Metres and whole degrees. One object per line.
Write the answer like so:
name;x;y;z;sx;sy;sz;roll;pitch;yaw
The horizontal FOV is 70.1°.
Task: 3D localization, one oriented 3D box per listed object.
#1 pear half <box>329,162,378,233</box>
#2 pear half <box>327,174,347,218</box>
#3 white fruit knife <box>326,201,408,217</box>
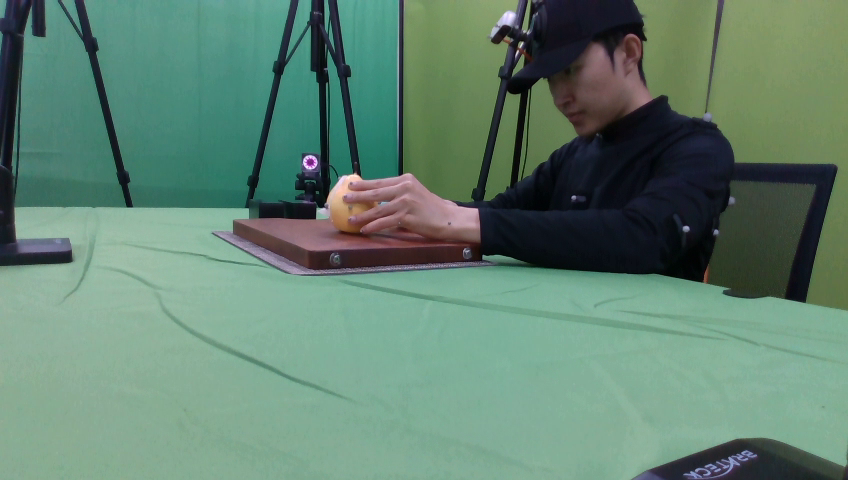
pear half;-0.101;-0.064;0.927;0.055;0.110;0.077;9;12;38
pear half;-0.129;-0.059;0.954;0.031;0.088;0.071;-1;8;39
white fruit knife;-0.087;-0.050;0.978;0.016;0.027;0.208;17;11;31
